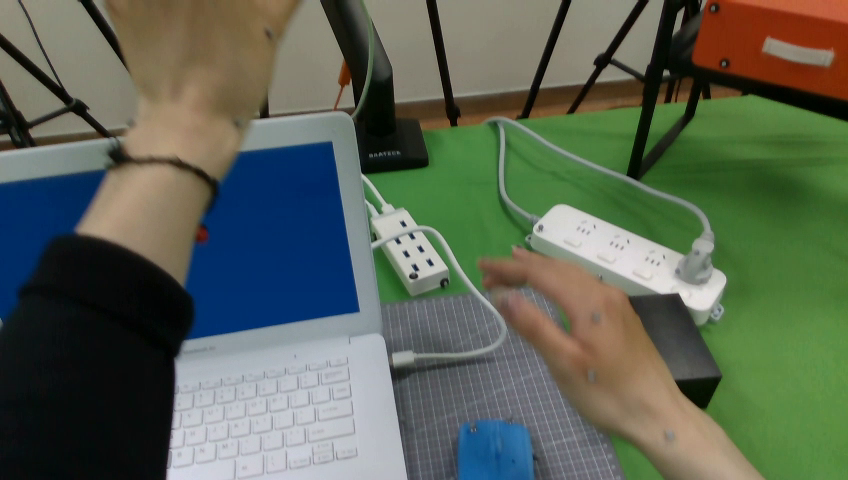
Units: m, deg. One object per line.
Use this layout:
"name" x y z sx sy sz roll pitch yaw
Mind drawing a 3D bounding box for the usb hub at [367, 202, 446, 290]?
"usb hub" -0.023 0.004 0.711 0.049 0.025 0.123 -19 45 -17

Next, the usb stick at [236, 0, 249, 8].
"usb stick" -0.099 -0.166 0.364 0.027 0.021 0.059 35 68 -13

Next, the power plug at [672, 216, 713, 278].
"power plug" 0.296 0.016 0.649 0.072 0.053 0.035 -32 49 -27

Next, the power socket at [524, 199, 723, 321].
"power socket" 0.221 0.017 0.683 0.225 0.033 0.072 28 49 29

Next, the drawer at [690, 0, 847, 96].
"drawer" 0.423 -0.244 0.660 0.193 0.074 0.211 23 47 25

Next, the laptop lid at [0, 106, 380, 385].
"laptop lid" -0.226 0.014 0.539 0.357 0.243 0.013 -10 30 -6

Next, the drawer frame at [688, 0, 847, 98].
"drawer frame" 0.424 -0.247 0.661 0.200 0.083 0.213 22 47 24

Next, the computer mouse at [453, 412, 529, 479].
"computer mouse" 0.054 0.188 0.493 0.063 0.041 0.116 0 38 6

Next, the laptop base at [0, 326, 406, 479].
"laptop base" -0.196 0.195 0.514 0.355 0.023 0.233 -9 46 -7
